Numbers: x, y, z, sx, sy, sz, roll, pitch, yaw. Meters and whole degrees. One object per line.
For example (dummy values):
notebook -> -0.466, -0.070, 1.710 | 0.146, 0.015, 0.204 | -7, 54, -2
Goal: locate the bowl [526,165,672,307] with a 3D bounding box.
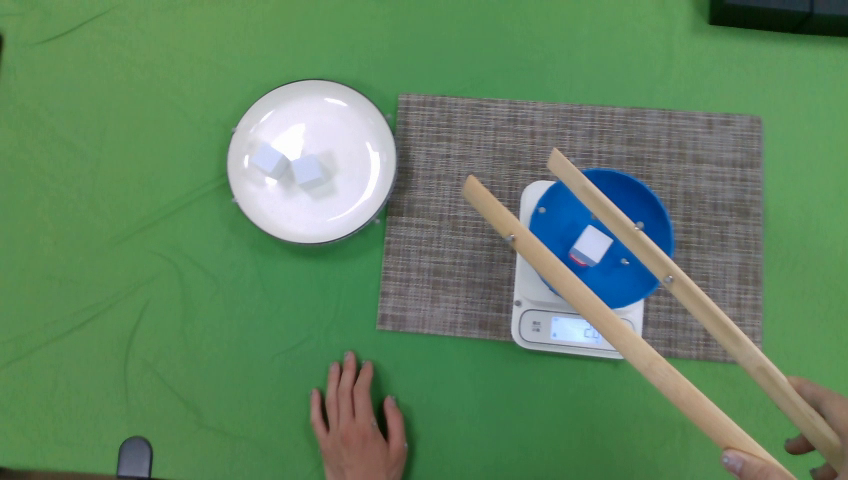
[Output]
bowl -> 0.181, 0.001, 0.662 | 0.151, 0.077, 0.151 | 0, 82, 1

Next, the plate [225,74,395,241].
plate -> -0.137, -0.099, 0.745 | 0.207, 0.039, 0.207 | 0, 81, 2

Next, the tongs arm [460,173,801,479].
tongs arm -> 0.159, 0.072, 0.464 | 0.028, 0.028, 0.384 | -25, 59, -37

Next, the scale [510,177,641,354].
scale -> 0.182, 0.028, 0.711 | 0.148, 0.031, 0.200 | 5, 82, 4

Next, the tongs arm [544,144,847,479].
tongs arm -> 0.208, 0.053, 0.494 | 0.051, 0.027, 0.381 | -20, 57, -31
